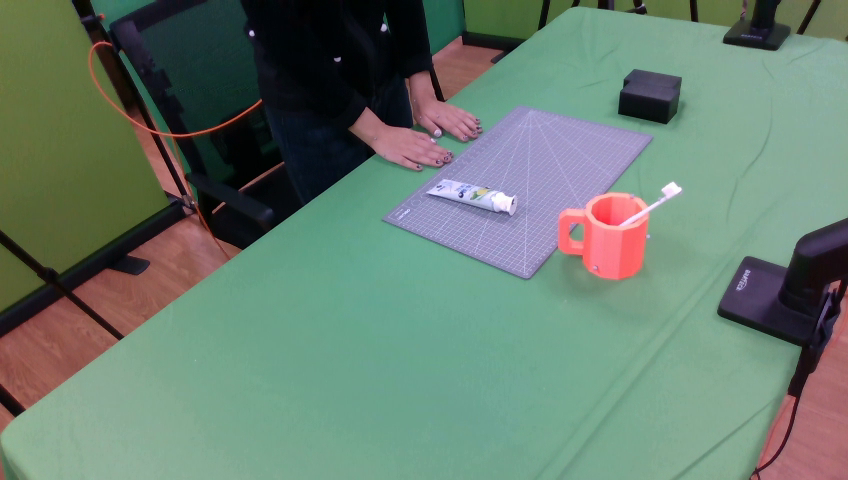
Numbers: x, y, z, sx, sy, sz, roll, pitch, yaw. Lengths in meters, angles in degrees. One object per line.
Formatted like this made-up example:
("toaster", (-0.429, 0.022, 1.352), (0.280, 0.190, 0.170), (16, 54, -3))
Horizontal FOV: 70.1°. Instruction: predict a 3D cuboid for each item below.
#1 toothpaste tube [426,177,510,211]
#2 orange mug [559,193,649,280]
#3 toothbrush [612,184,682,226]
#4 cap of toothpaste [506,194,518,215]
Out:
("toothpaste tube", (0.083, -0.081, 1.054), (0.164, 0.034, 0.055), (18, 40, 34))
("orange mug", (0.261, -0.008, 0.884), (0.126, 0.101, 0.083), (9, 43, 14))
("toothbrush", (0.293, -0.035, 0.847), (0.017, 0.181, 0.014), (29, 63, -7))
("cap of toothpaste", (0.146, -0.060, 1.008), (0.011, 0.037, 0.037), (14, 46, 22))
